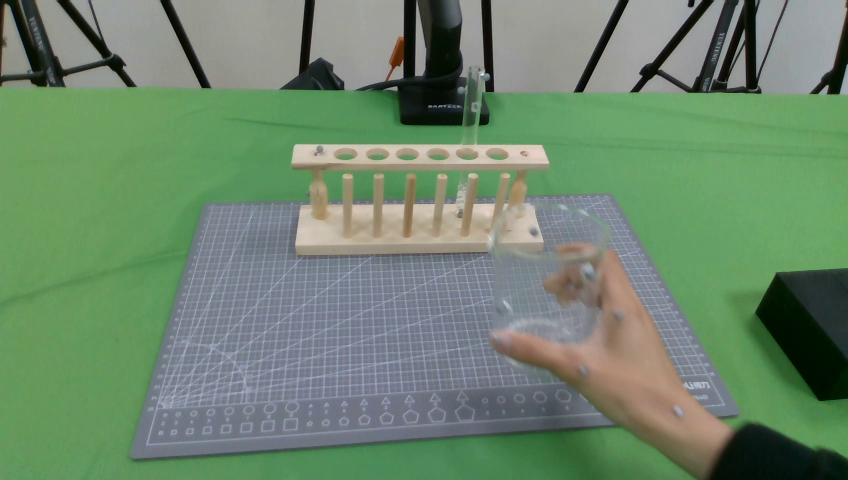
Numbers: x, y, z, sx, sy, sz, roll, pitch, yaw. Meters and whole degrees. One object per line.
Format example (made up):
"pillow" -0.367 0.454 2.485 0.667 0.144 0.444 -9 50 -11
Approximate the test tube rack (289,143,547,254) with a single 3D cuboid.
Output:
"test tube rack" -0.005 -0.041 0.593 0.243 0.086 0.066 -1 40 -6

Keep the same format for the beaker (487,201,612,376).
"beaker" 0.080 0.035 0.409 0.084 0.101 0.073 -13 32 -19

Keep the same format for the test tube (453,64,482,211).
"test tube" 0.040 -0.093 0.581 0.017 0.151 0.017 2 36 -1
